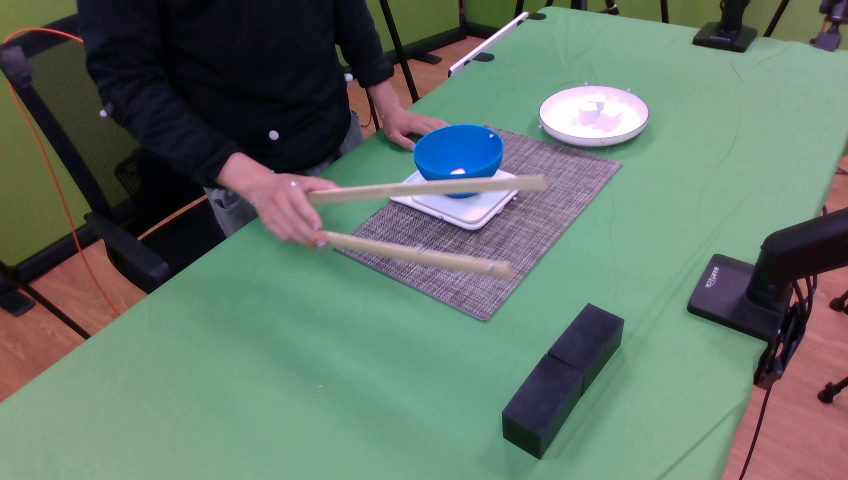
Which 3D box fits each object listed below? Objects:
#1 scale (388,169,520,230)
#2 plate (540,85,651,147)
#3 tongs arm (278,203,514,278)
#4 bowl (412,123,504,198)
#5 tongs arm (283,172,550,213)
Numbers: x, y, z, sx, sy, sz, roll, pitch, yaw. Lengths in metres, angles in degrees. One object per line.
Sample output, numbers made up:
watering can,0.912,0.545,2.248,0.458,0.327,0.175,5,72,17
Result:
scale,0.050,-0.090,1.051,0.199,0.032,0.149,24,49,31
plate,0.333,-0.238,1.186,0.207,0.039,0.206,-4,41,4
tongs arm,-0.053,-0.006,0.768,0.382,0.027,0.051,8,57,33
bowl,0.060,-0.123,1.007,0.151,0.077,0.150,-5,41,5
tongs arm,-0.024,-0.064,0.807,0.385,0.028,0.028,-2,55,26
